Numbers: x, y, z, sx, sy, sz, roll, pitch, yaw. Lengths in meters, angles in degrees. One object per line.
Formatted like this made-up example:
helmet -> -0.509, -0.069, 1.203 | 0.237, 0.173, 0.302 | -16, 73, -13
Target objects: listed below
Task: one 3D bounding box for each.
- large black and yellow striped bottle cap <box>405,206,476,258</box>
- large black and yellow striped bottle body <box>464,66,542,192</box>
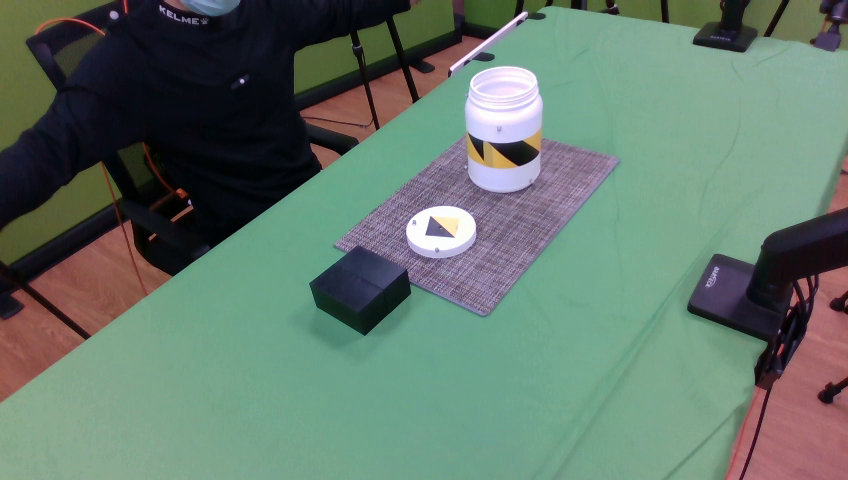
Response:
large black and yellow striped bottle cap -> 0.027, -0.015, 0.981 | 0.115, 0.019, 0.114 | -3, 41, 3
large black and yellow striped bottle body -> 0.137, -0.190, 1.040 | 0.131, 0.185, 0.130 | -4, 41, 4
